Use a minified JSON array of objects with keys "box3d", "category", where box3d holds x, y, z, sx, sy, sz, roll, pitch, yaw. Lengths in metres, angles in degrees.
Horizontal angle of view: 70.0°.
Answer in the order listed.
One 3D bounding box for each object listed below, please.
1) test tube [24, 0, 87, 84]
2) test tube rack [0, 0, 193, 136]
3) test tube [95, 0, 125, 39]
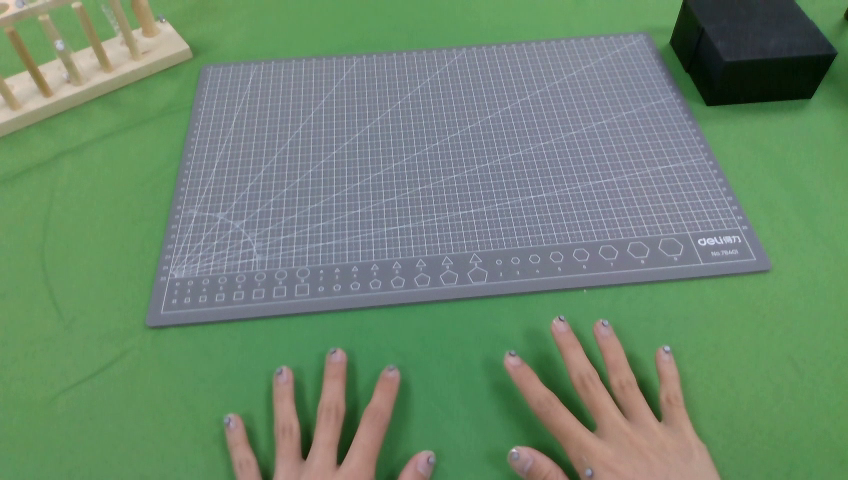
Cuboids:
[{"box3d":[-0.328,-0.198,0.516,0.017,0.152,0.017,0,52,1],"category":"test tube"},{"box3d":[-0.351,-0.174,0.555,0.242,0.086,0.066,-31,58,-20],"category":"test tube rack"},{"box3d":[-0.307,-0.248,0.548,0.017,0.152,0.017,-4,54,6],"category":"test tube"}]
